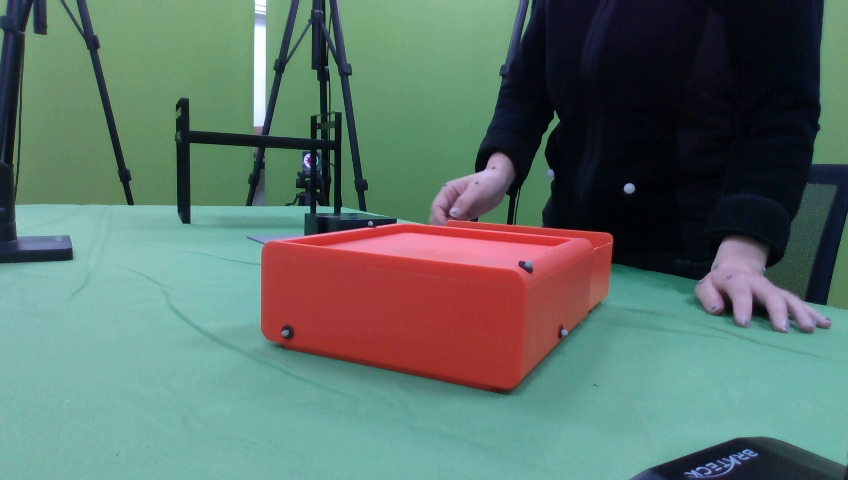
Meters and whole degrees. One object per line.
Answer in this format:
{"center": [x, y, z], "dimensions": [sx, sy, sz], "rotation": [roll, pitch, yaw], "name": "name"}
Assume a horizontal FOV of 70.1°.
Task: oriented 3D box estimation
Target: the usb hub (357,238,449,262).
{"center": [-0.028, 0.013, 0.856], "dimensions": [0.126, 0.025, 0.049], "rotation": [-2, 8, -34], "name": "usb hub"}

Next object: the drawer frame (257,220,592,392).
{"center": [0.014, 0.036, 0.491], "dimensions": [0.201, 0.082, 0.214], "rotation": [6, 9, 24], "name": "drawer frame"}

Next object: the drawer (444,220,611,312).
{"center": [0.060, 0.029, 0.584], "dimensions": [0.194, 0.073, 0.212], "rotation": [7, 9, 27], "name": "drawer"}
